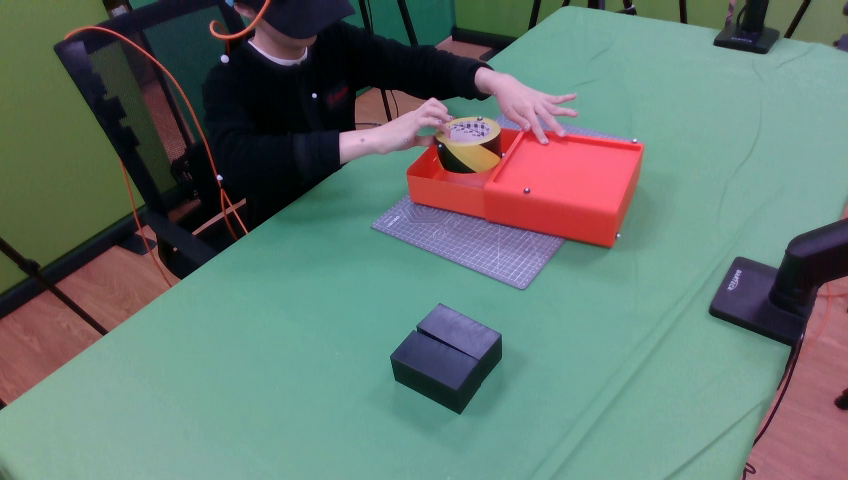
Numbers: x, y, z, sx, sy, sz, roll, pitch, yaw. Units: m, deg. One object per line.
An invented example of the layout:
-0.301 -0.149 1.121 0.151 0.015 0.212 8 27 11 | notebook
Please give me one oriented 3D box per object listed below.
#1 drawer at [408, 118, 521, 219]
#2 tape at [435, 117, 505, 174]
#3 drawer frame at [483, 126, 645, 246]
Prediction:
0.109 -0.125 1.060 0.210 0.073 0.194 15 44 23 | drawer
0.079 -0.160 1.016 0.117 0.053 0.116 -5 35 4 | tape
0.234 -0.096 1.003 0.212 0.083 0.202 13 44 22 | drawer frame
